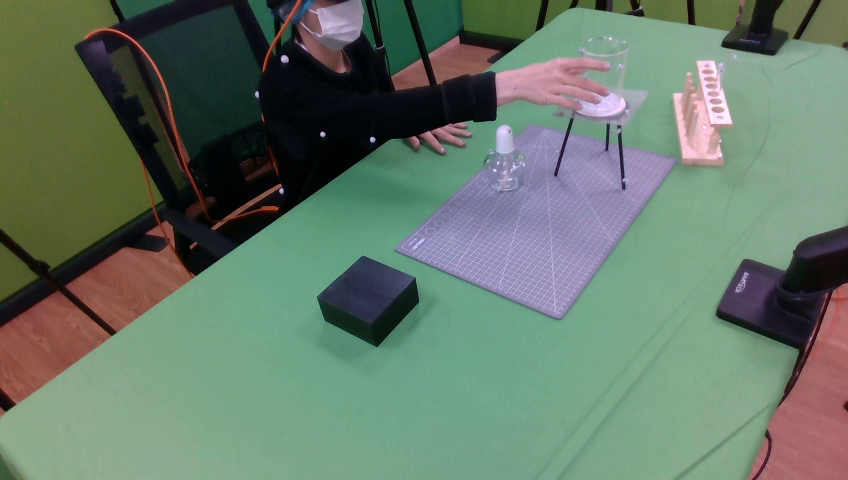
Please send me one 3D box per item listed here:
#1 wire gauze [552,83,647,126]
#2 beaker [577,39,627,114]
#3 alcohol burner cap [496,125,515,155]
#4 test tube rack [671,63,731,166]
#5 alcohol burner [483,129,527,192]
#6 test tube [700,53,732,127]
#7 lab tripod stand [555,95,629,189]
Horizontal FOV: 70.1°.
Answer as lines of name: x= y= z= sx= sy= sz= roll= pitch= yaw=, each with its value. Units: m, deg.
wire gauze: x=0.293 y=-0.224 z=1.003 sx=0.120 sy=0.011 sz=0.125 roll=19 pitch=43 yaw=26
beaker: x=0.286 y=-0.264 z=0.976 sx=0.073 sy=0.100 sz=0.084 roll=25 pitch=49 yaw=33
alcohol burner cap: x=0.138 y=-0.172 z=1.028 sx=0.034 sy=0.048 sz=0.033 roll=-5 pitch=38 yaw=4
test tube rack: x=0.513 y=-0.241 z=1.132 sx=0.066 sy=0.085 sz=0.242 roll=4 pitch=41 yaw=14
alcohol burner: x=0.141 y=-0.144 z=1.050 sx=0.078 sy=0.119 sz=0.077 roll=-4 pitch=42 yaw=4
test tube: x=0.521 y=-0.265 z=1.081 sx=0.017 sy=0.151 sz=0.017 roll=-3 pitch=47 yaw=3
lab tripod stand: x=0.300 y=-0.174 z=1.045 sx=0.148 sy=0.132 sz=0.147 roll=-5 pitch=38 yaw=5
